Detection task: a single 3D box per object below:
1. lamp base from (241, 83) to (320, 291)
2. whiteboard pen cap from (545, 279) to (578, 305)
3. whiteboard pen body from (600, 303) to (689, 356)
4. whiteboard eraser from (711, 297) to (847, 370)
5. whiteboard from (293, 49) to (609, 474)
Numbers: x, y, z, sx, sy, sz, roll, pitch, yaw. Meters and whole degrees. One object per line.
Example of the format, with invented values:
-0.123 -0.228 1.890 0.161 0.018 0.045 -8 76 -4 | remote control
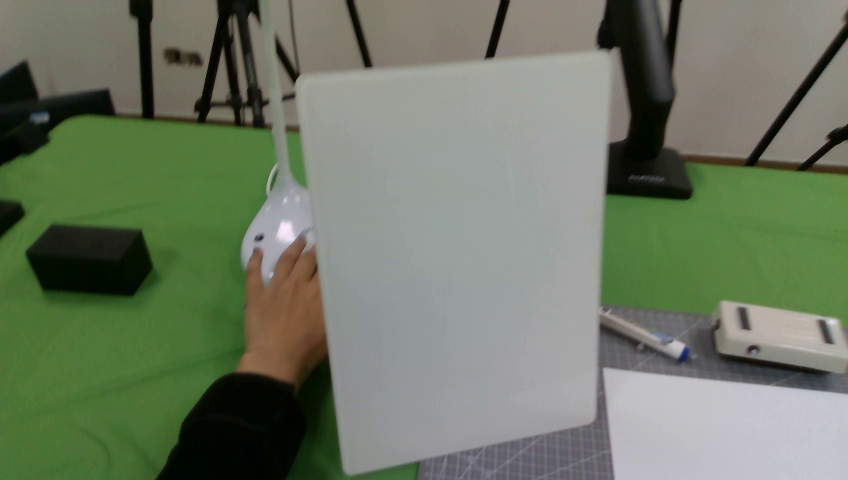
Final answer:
-0.133 -0.064 0.648 0.161 0.182 0.177 -27 44 -31 | lamp base
0.142 0.054 0.623 0.033 0.018 0.018 25 44 20 | whiteboard pen cap
0.191 0.078 0.600 0.140 0.017 0.017 25 44 22 | whiteboard pen body
0.334 0.090 0.574 0.112 0.042 0.055 8 37 9 | whiteboard eraser
0.020 0.005 0.509 0.218 0.307 0.142 -8 20 -10 | whiteboard
